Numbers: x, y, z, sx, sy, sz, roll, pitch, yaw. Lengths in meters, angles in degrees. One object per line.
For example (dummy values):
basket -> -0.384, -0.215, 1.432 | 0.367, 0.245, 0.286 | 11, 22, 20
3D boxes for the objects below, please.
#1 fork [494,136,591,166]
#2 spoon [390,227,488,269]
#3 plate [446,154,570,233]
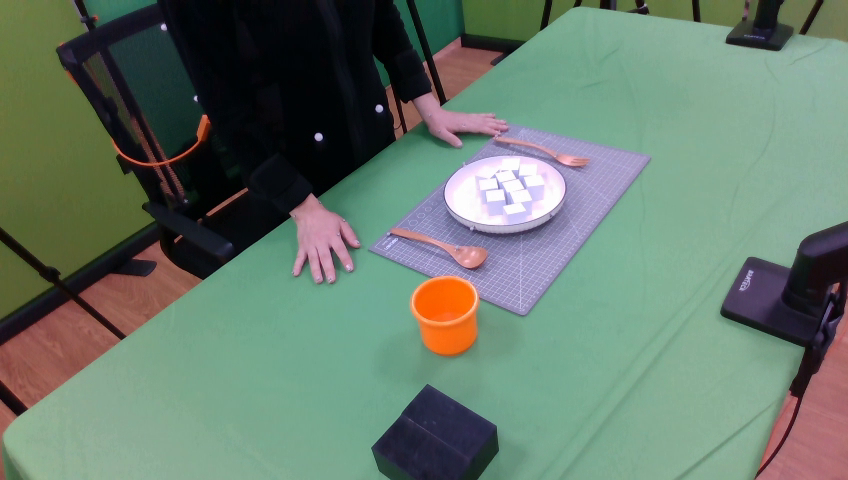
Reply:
fork -> 0.219, -0.171, 1.144 | 0.205, 0.019, 0.028 | 24, 56, 31
spoon -> 0.020, 0.006, 0.970 | 0.192, 0.022, 0.041 | 21, 67, 31
plate -> 0.142, -0.076, 1.033 | 0.207, 0.039, 0.206 | -5, 40, 5
